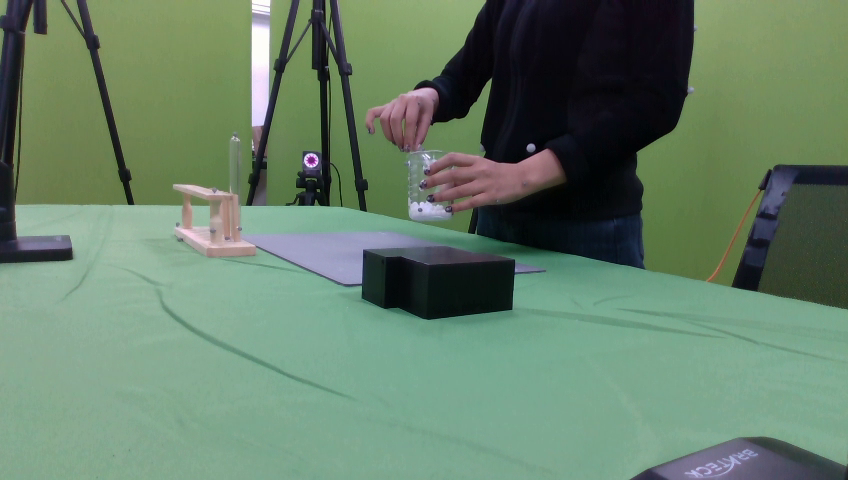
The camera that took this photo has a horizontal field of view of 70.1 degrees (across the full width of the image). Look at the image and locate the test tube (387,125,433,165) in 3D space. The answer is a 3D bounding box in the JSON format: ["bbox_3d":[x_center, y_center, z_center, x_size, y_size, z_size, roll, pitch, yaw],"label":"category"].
[{"bbox_3d":[-0.026,-0.158,0.994,0.017,0.017,0.149,-2,30,-31],"label":"test tube"}]

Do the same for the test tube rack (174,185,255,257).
[{"bbox_3d":[-0.324,-0.035,0.922,0.067,0.085,0.241,-2,9,-32],"label":"test tube rack"}]

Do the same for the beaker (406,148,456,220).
[{"bbox_3d":[0.010,-0.083,0.925,0.074,0.100,0.084,0,-4,-13],"label":"beaker"}]

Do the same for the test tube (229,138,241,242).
[{"bbox_3d":[-0.270,-0.071,0.866,0.017,0.150,0.017,2,8,0],"label":"test tube"}]
